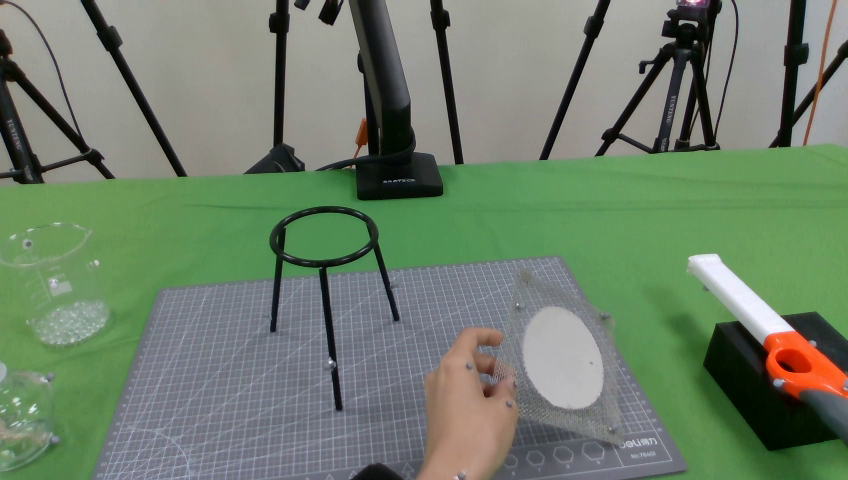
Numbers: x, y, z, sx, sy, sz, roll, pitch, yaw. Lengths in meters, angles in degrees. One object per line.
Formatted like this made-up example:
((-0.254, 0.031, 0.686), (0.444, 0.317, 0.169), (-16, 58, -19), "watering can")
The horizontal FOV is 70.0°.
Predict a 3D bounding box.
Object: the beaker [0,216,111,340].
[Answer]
((-0.346, 0.037, 0.578), (0.073, 0.101, 0.084), (26, 41, 33), "beaker")

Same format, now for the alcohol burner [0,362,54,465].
((-0.326, 0.110, 0.453), (0.078, 0.120, 0.077), (1, 32, -1), "alcohol burner")

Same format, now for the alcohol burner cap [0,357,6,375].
((-0.327, 0.081, 0.433), (0.034, 0.048, 0.033), (2, 38, -1), "alcohol burner cap")

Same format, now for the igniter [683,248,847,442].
((0.294, 0.083, 0.497), (0.057, 0.025, 0.273), (-5, 31, -6), "igniter")

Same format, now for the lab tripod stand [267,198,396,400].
((-0.083, 0.043, 0.535), (0.148, 0.132, 0.147), (2, 34, -1), "lab tripod stand")

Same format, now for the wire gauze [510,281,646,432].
((0.127, 0.091, 0.486), (0.126, 0.011, 0.120), (10, 57, -37), "wire gauze")
